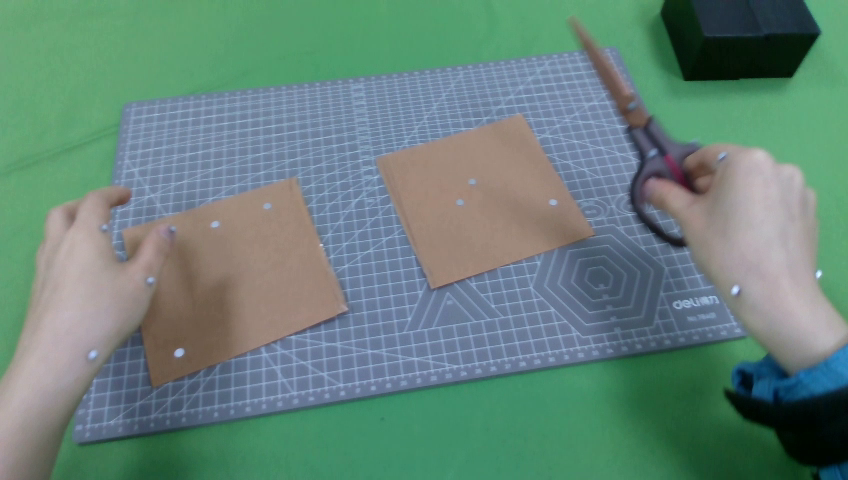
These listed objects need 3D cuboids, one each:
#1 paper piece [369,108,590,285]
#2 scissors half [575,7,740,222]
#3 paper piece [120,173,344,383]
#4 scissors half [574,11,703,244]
[{"bbox_3d":[0.040,-0.040,0.476,0.136,0.004,0.134,-18,60,-10],"label":"paper piece"},{"bbox_3d":[0.155,-0.087,0.409,0.040,0.013,0.175,-38,88,-6],"label":"scissors half"},{"bbox_3d":[-0.143,0.019,0.440,0.138,0.009,0.134,-21,55,-10],"label":"paper piece"},{"bbox_3d":[0.138,-0.077,0.406,0.040,0.013,0.174,-21,85,-11],"label":"scissors half"}]
